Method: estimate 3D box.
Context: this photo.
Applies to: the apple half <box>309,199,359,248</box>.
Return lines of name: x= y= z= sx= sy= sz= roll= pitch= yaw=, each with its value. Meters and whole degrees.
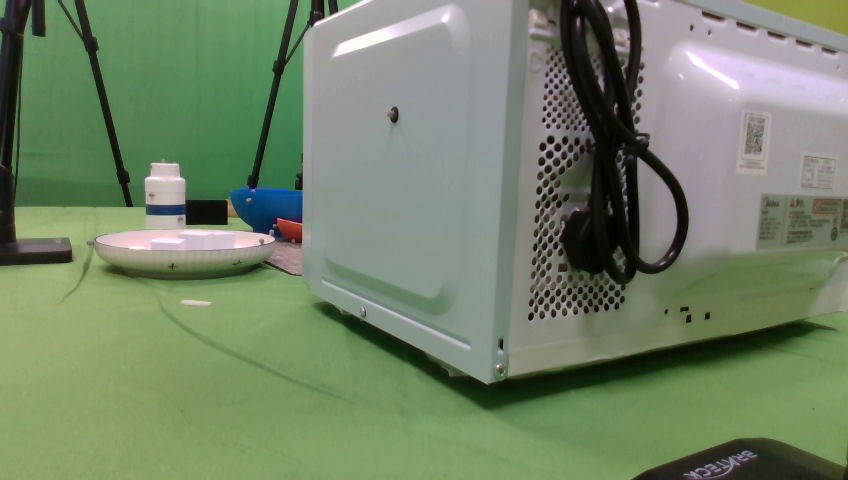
apple half: x=-0.133 y=-0.023 z=0.940 sx=0.053 sy=0.074 sz=0.081 roll=21 pitch=14 yaw=38

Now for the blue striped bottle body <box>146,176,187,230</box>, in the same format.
blue striped bottle body: x=-0.430 y=-0.065 z=1.010 sx=0.063 sy=0.120 sz=0.063 roll=2 pitch=7 yaw=0

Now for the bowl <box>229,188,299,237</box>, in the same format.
bowl: x=-0.265 y=-0.048 z=1.066 sx=0.151 sy=0.077 sz=0.151 roll=3 pitch=8 yaw=0

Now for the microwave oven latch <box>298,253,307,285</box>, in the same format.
microwave oven latch: x=-0.081 y=0.027 z=0.582 sx=0.079 sy=0.029 sz=0.030 roll=-2 pitch=7 yaw=-33

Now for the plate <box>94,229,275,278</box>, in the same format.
plate: x=-0.291 y=0.016 z=0.750 sx=0.208 sy=0.039 sz=0.207 roll=2 pitch=7 yaw=0

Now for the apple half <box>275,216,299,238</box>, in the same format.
apple half: x=-0.201 y=-0.018 z=0.981 sx=0.081 sy=0.033 sz=0.081 roll=9 pitch=9 yaw=-1

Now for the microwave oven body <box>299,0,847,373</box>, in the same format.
microwave oven body: x=0.151 y=-0.055 z=0.542 sx=0.444 sy=0.260 sz=0.324 roll=-2 pitch=7 yaw=-33

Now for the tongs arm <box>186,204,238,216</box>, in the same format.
tongs arm: x=-0.396 y=-0.067 z=1.399 sx=0.389 sy=0.028 sz=0.028 roll=1 pitch=5 yaw=-15

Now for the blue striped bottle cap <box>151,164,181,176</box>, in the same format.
blue striped bottle cap: x=-0.428 y=-0.116 z=1.002 sx=0.044 sy=0.020 sz=0.044 roll=1 pitch=6 yaw=0

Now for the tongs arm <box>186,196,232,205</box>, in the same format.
tongs arm: x=-0.404 y=-0.081 z=1.479 sx=0.385 sy=0.026 sz=0.050 roll=3 pitch=8 yaw=-2

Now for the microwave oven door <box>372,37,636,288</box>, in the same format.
microwave oven door: x=0.110 y=-0.080 z=0.686 sx=0.358 sy=0.243 sz=0.039 roll=-2 pitch=9 yaw=-33

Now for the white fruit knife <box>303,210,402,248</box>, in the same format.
white fruit knife: x=-0.113 y=-0.019 z=1.002 sx=0.016 sy=0.027 sz=0.208 roll=14 pitch=25 yaw=41
